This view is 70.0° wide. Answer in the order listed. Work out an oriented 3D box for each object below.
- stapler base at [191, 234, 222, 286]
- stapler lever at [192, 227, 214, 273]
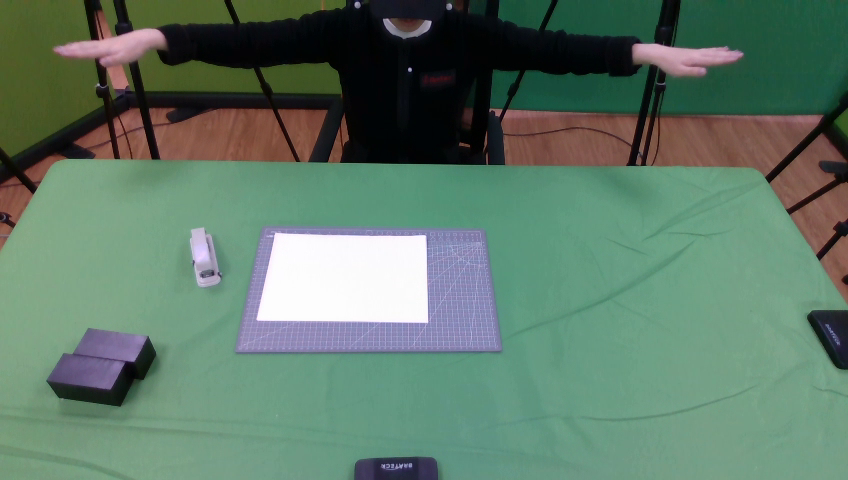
[{"bbox_3d":[-0.410,0.031,1.135,0.041,0.024,0.129,-13,47,-19],"label":"stapler base"},{"bbox_3d":[-0.410,0.013,1.118,0.027,0.040,0.117,-13,48,-18],"label":"stapler lever"}]
